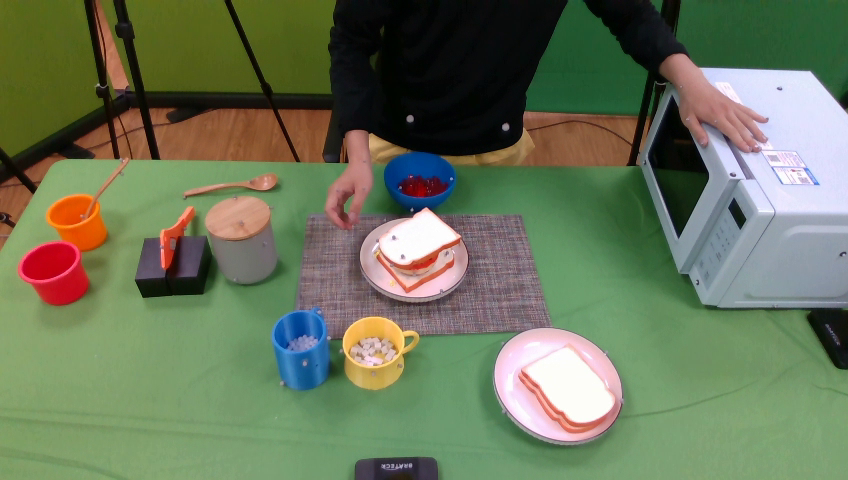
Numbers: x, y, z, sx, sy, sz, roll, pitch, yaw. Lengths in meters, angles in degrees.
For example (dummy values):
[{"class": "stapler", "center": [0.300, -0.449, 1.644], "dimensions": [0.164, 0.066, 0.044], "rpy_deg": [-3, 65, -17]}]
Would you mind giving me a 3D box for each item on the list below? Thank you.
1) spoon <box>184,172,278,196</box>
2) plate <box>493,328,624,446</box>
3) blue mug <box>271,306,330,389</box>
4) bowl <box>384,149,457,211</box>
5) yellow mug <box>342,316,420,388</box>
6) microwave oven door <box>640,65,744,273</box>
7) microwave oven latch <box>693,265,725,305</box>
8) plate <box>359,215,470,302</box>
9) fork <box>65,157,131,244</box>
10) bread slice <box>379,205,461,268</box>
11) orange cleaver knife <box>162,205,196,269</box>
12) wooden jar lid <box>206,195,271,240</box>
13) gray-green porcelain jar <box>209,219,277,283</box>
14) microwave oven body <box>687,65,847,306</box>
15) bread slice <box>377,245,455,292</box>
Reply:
[{"class": "spoon", "center": [-0.405, -0.116, 1.275], "dimensions": [0.194, 0.022, 0.041], "rpy_deg": [-8, 65, -12]}, {"class": "plate", "center": [0.213, 0.236, 0.974], "dimensions": [0.208, 0.039, 0.206], "rpy_deg": [2, 46, -2]}, {"class": "blue mug", "center": [-0.188, 0.163, 0.969], "dimensions": [0.082, 0.106, 0.116], "rpy_deg": [15, 47, 10]}, {"class": "bowl", "center": [-0.009, -0.112, 1.261], "dimensions": [0.151, 0.077, 0.150], "rpy_deg": [2, 46, -2]}, {"class": "yellow mug", "center": [-0.068, 0.177, 0.990], "dimensions": [0.131, 0.064, 0.099], "rpy_deg": [-16, 50, -19]}, {"class": "microwave oven door", "center": [0.514, -0.147, 1.193], "dimensions": [0.039, 0.245, 0.353], "rpy_deg": [2, 47, -1]}, {"class": "microwave oven latch", "center": [0.523, 0.082, 1.115], "dimensions": [0.030, 0.029, 0.078], "rpy_deg": [2, 46, -1]}, {"class": "plate", "center": [-0.019, 0.038, 1.140], "dimensions": [0.209, 0.038, 0.208], "rpy_deg": [2, 46, -2]}, {"class": "fork", "center": [-0.609, -0.074, 1.133], "dimensions": [0.207, 0.019, 0.028], "rpy_deg": [-52, 49, 10]}, {"class": "bread slice", "center": [-0.013, -0.002, 1.097], "dimensions": [0.134, 0.018, 0.106], "rpy_deg": [-34, 50, -22]}, {"class": "orange cleaver knife", "center": [-0.454, -0.010, 1.129], "dimensions": [0.012, 0.077, 0.210], "rpy_deg": [-2, 20, -5]}, {"class": "wooden jar lid", "center": [-0.319, -0.036, 1.046], "dimensions": [0.108, 0.021, 0.107], "rpy_deg": [1, 44, 0]}, {"class": "gray-green porcelain jar", "center": [-0.323, 0.007, 1.092], "dimensions": [0.106, 0.127, 0.105], "rpy_deg": [2, 46, -2]}, {"class": "microwave oven body", "center": [0.669, -0.111, 1.176], "dimensions": [0.326, 0.261, 0.439], "rpy_deg": [0, 46, -3]}, {"class": "bread slice", "center": [-0.009, 0.033, 1.148], "dimensions": [0.131, 0.019, 0.104], "rpy_deg": [-28, 55, -25]}]
